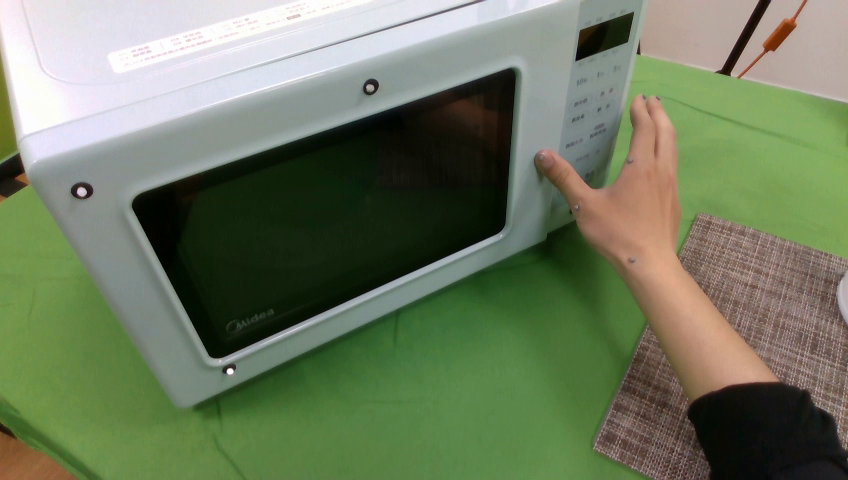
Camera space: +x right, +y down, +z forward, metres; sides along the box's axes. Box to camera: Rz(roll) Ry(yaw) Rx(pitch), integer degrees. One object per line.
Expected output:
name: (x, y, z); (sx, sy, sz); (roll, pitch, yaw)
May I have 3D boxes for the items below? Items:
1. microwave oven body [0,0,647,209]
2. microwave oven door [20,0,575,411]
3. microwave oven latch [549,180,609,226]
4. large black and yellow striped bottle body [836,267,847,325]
microwave oven body: (-0.089, -0.125, 0.561); (0.442, 0.262, 0.322); (-25, 49, -19)
microwave oven door: (-0.049, -0.026, 0.451); (0.356, 0.246, 0.039); (-24, 48, -19)
microwave oven latch: (0.144, -0.041, 0.600); (0.079, 0.030, 0.030); (-22, 48, -17)
large black and yellow striped bottle body: (0.417, 0.004, 0.454); (0.131, 0.186, 0.129); (-2, 45, 2)
